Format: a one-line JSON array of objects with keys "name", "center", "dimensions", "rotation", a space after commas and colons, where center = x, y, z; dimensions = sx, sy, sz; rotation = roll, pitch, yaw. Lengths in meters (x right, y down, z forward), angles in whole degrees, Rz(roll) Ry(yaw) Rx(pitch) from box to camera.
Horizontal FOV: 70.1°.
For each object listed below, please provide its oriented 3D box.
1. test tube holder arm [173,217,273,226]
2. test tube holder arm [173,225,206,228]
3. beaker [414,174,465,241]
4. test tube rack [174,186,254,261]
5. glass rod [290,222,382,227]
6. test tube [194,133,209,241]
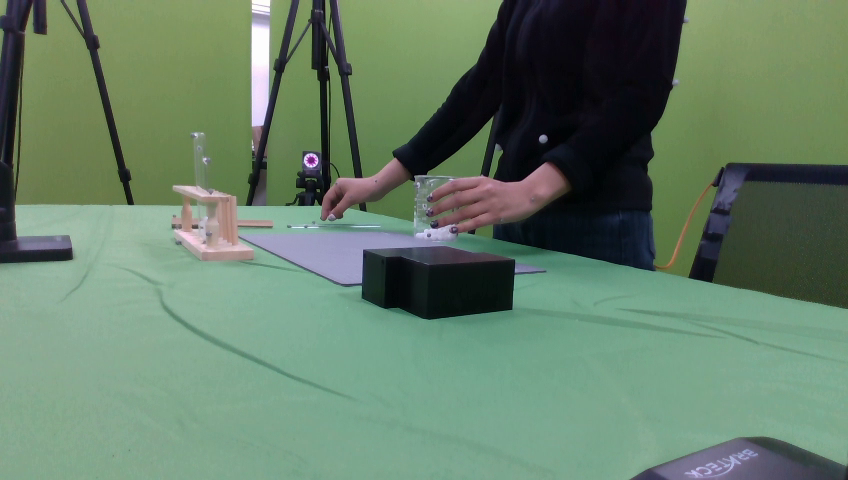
[{"name": "test tube holder arm", "center": [-0.371, -0.033, 1.128], "dimensions": [0.179, 0.015, 0.013], "rotation": [-1, -22, -26]}, {"name": "test tube holder arm", "center": [-0.415, -0.030, 1.113], "dimensions": [0.088, 0.015, 0.010], "rotation": [-1, -22, -25]}, {"name": "beaker", "center": [0.020, -0.051, 0.930], "dimensions": [0.074, 0.100, 0.083], "rotation": [0, 5, -23]}, {"name": "test tube rack", "center": [-0.314, -0.031, 0.889], "dimensions": [0.067, 0.085, 0.241], "rotation": [-2, 8, -30]}, {"name": "glass rod", "center": [-0.178, -0.032, 1.247], "dimensions": [0.201, 0.008, 0.008], "rotation": [-2, 8, -30]}, {"name": "test tube", "center": [-0.307, -0.074, 0.842], "dimensions": [0.017, 0.150, 0.017], "rotation": [-3, 2, 0]}]
